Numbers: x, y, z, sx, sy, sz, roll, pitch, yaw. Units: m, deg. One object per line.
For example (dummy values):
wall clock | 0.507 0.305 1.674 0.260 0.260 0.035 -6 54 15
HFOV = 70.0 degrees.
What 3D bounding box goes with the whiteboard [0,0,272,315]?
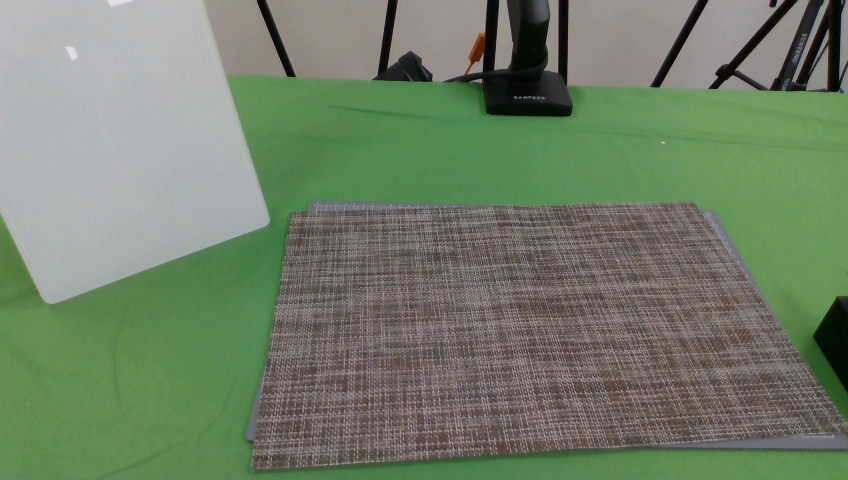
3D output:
whiteboard | -0.310 -0.125 0.582 0.217 0.307 0.142 -23 26 -27
